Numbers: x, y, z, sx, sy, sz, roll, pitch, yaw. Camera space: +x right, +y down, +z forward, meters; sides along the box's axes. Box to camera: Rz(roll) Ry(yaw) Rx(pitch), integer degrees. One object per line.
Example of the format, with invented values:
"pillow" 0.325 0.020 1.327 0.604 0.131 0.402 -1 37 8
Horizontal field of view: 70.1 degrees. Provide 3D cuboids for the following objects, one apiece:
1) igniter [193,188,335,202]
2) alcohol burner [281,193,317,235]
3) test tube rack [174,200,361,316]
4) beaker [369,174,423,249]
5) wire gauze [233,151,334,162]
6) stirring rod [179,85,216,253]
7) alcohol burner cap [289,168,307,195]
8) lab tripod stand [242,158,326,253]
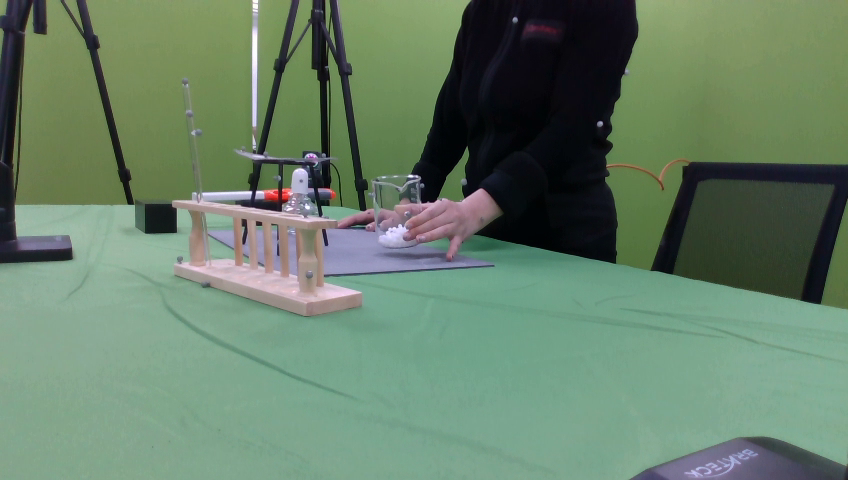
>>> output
"igniter" -0.312 -0.089 1.209 0.278 0.025 0.057 -5 13 -31
"alcohol burner" -0.225 -0.069 1.086 0.078 0.119 0.078 2 6 0
"test tube rack" -0.169 0.009 0.622 0.241 0.085 0.067 9 9 41
"beaker" -0.038 -0.041 0.880 0.074 0.100 0.083 -7 15 -11
"wire gauze" -0.205 -0.120 0.887 0.122 0.011 0.124 0 7 -32
"stirring rod" -0.236 -0.073 0.634 0.006 0.176 0.014 1 10 42
"alcohol burner cap" -0.224 -0.105 1.081 0.034 0.048 0.034 4 3 0
"lab tripod stand" -0.207 -0.054 0.895 0.148 0.131 0.148 2 5 0
